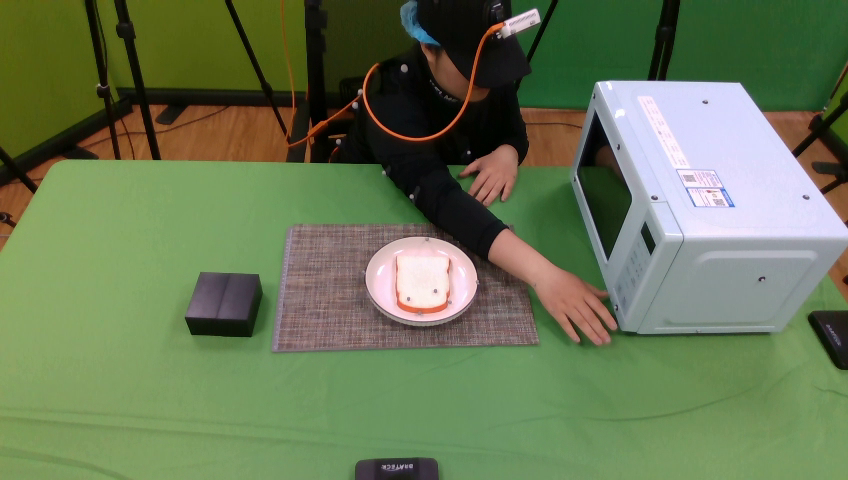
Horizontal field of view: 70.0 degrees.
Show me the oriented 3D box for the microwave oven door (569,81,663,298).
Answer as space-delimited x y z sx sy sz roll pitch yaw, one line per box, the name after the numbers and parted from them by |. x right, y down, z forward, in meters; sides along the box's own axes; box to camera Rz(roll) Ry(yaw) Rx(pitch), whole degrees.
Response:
0.353 -0.103 1.147 0.039 0.245 0.353 0 46 -4 | microwave oven door

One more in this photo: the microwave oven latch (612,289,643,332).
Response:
0.357 0.124 1.068 0.030 0.029 0.078 0 45 -3 | microwave oven latch

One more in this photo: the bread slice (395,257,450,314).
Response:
-0.001 0.079 1.109 0.105 0.019 0.130 1 45 -2 | bread slice

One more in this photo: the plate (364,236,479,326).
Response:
-0.004 0.078 1.107 0.209 0.038 0.208 2 46 -2 | plate

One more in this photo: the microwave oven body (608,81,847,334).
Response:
0.501 -0.070 1.132 0.326 0.261 0.438 -1 45 -4 | microwave oven body
